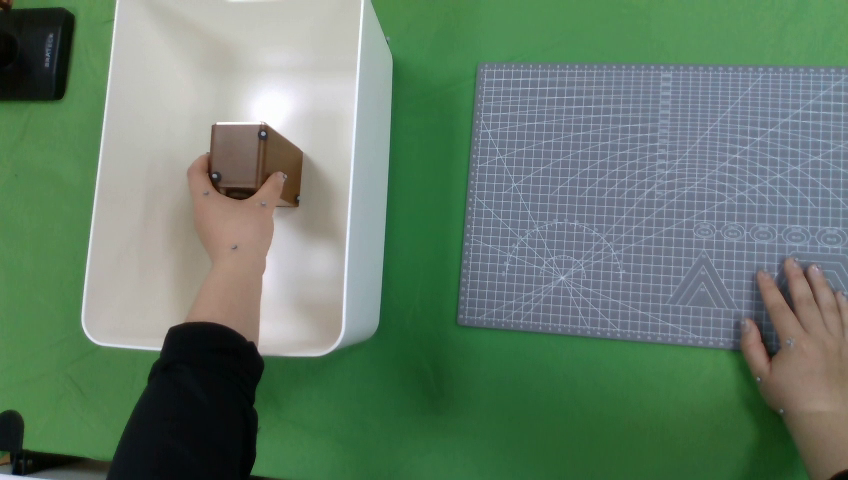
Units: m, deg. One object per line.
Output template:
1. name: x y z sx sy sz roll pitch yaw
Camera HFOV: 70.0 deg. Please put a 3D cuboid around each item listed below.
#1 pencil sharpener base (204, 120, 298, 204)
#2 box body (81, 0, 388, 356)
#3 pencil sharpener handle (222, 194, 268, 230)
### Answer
1. pencil sharpener base: -0.185 -0.078 0.658 0.061 0.107 0.076 1 85 9
2. box body: -0.176 -0.070 0.634 0.254 0.161 0.363 1 83 9
3. pencil sharpener handle: -0.186 -0.029 0.641 0.036 0.068 0.030 0 84 18
